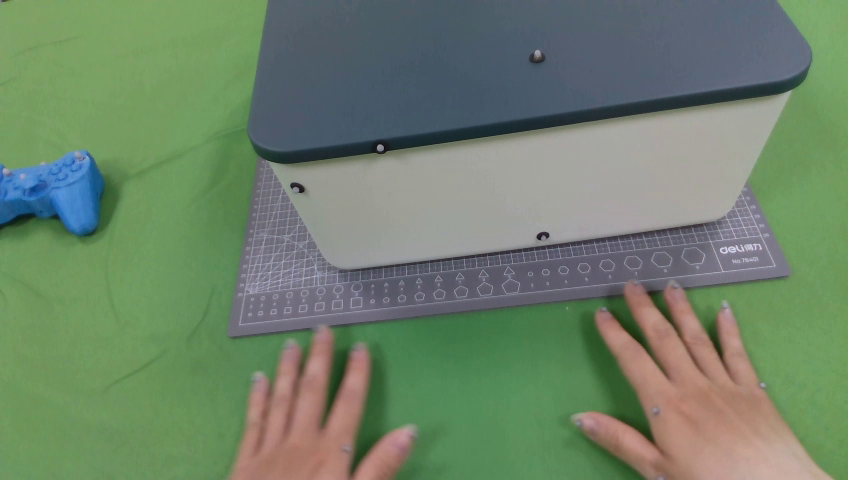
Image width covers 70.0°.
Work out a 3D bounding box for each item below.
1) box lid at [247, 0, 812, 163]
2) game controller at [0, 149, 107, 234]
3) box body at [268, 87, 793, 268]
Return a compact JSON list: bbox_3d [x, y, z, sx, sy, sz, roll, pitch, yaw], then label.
[{"bbox_3d":[0.055,-0.174,0.457,0.371,0.015,0.260,-8,53,3],"label":"box lid"},{"bbox_3d":[-0.395,-0.045,0.602,0.155,0.052,0.096,-7,49,3],"label":"game controller"},{"bbox_3d":[0.068,-0.130,0.515,0.364,0.162,0.251,-8,52,3],"label":"box body"}]
